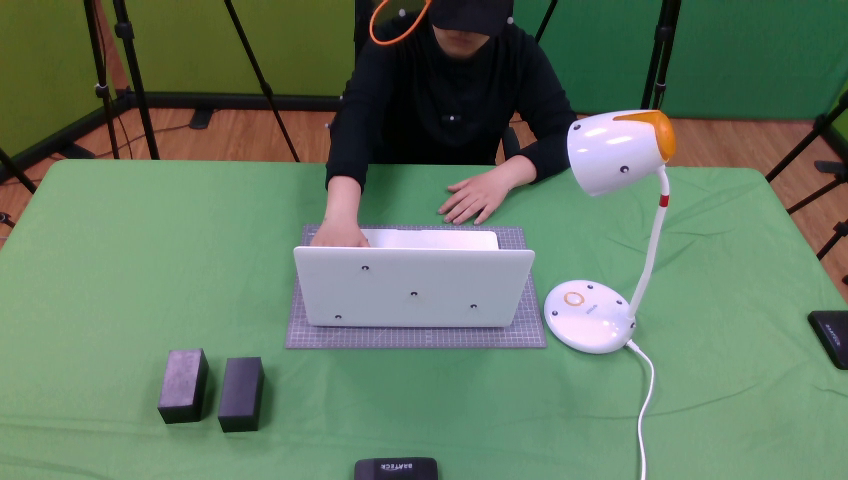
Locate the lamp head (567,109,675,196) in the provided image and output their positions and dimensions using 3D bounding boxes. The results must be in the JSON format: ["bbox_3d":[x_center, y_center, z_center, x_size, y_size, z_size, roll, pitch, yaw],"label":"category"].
[{"bbox_3d":[0.272,-0.123,0.818,0.122,0.113,0.112,-9,35,37],"label":"lamp head"}]

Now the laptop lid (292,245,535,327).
[{"bbox_3d":[-0.018,0.080,0.956,0.357,0.243,0.013,2,53,-5],"label":"laptop lid"}]

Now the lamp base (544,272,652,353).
[{"bbox_3d":[0.310,0.086,1.029,0.178,0.181,0.160,32,52,21],"label":"lamp base"}]

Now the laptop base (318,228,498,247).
[{"bbox_3d":[-0.028,0.066,1.134,0.355,0.023,0.234,1,43,-4],"label":"laptop base"}]
